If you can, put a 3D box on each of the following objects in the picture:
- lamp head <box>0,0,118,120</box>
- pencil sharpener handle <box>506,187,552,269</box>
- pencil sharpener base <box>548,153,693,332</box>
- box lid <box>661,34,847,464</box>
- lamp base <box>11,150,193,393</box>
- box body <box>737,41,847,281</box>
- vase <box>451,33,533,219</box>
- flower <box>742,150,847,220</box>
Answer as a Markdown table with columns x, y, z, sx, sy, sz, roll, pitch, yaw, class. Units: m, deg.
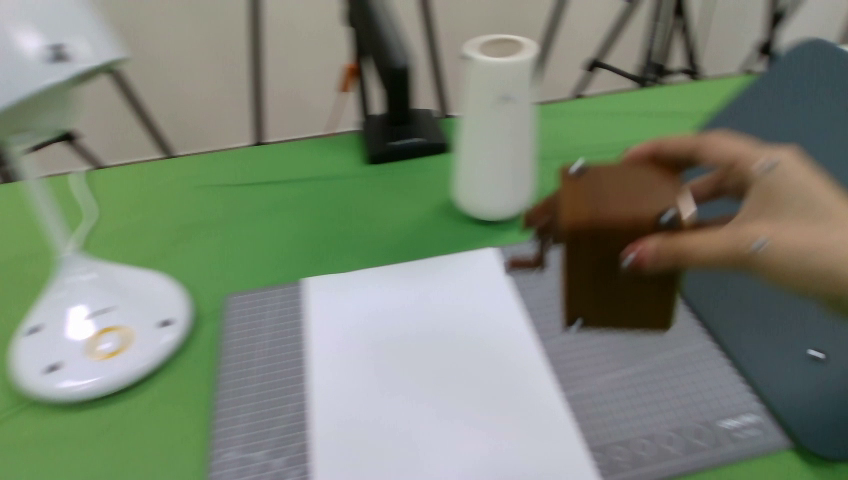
| x | y | z | sx | sy | sz | roll | pitch | yaw | class |
| --- | --- | --- | --- | --- | --- | --- | --- | --- | --- |
| -0.260 | -0.131 | 0.342 | 0.112 | 0.124 | 0.111 | -27 | 19 | 11 | lamp head |
| 0.066 | -0.004 | 0.385 | 0.030 | 0.068 | 0.035 | -1 | 49 | 11 | pencil sharpener handle |
| 0.118 | 0.005 | 0.384 | 0.076 | 0.108 | 0.061 | -1 | 45 | 10 | pencil sharpener base |
| 0.347 | -0.020 | 0.537 | 0.015 | 0.263 | 0.367 | 29 | 25 | -33 | box lid |
| -0.320 | 0.018 | 0.548 | 0.160 | 0.182 | 0.177 | -32 | 45 | -31 | lamp base |
| 0.524 | -0.054 | 0.591 | 0.254 | 0.162 | 0.360 | -10 | 40 | -7 | box body |
| 0.075 | -0.122 | 0.679 | 0.098 | 0.202 | 0.097 | -3 | 38 | 3 | vase |
| 0.493 | 0.006 | 0.634 | 0.044 | 0.038 | 0.357 | 12 | 28 | -48 | flower |
